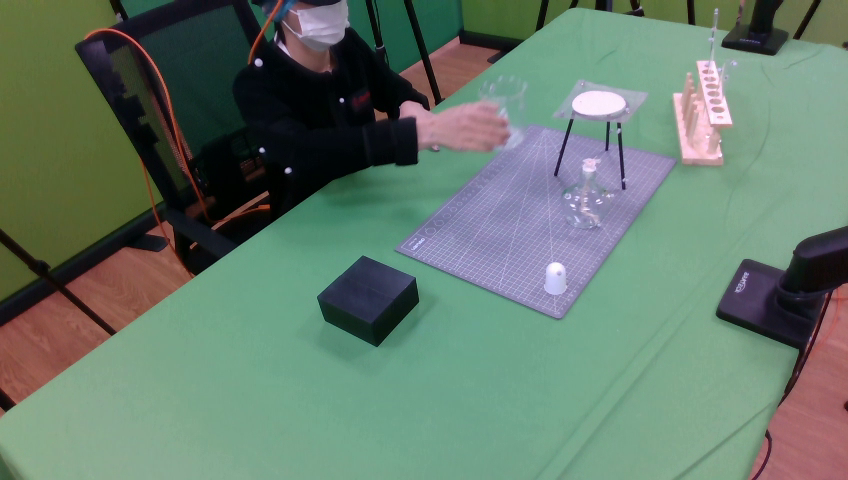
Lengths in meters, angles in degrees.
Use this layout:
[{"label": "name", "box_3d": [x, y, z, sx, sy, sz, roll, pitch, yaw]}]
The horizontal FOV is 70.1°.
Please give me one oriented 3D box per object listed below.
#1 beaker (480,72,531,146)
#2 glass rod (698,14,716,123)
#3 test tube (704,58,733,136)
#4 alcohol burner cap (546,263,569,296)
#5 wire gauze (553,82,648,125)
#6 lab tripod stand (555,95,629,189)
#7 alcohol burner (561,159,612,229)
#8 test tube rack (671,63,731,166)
[{"label": "beaker", "box_3d": [0.137, -0.212, 0.988, 0.084, 0.101, 0.073, -16, 42, -5]}, {"label": "glass rod", "box_3d": [0.531, -0.320, 1.136, 0.008, 0.200, 0.008, 3, 12, 0]}, {"label": "test tube", "box_3d": [0.516, -0.247, 1.062, 0.017, 0.151, 0.017, -3, 43, 4]}, {"label": "alcohol burner cap", "box_3d": [0.191, 0.053, 0.862, 0.034, 0.048, 0.033, -5, 40, 4]}, {"label": "wire gauze", "box_3d": [0.293, -0.226, 1.002, 0.120, 0.011, 0.125, 17, 45, 27]}, {"label": "lab tripod stand", "box_3d": [0.300, -0.174, 1.045, 0.148, 0.132, 0.147, -5, 38, 5]}, {"label": "alcohol burner", "box_3d": [0.257, -0.077, 0.951, 0.078, 0.119, 0.077, -3, 40, 3]}, {"label": "test tube rack", "box_3d": [0.513, -0.241, 1.132, 0.066, 0.085, 0.242, 4, 41, 14]}]
